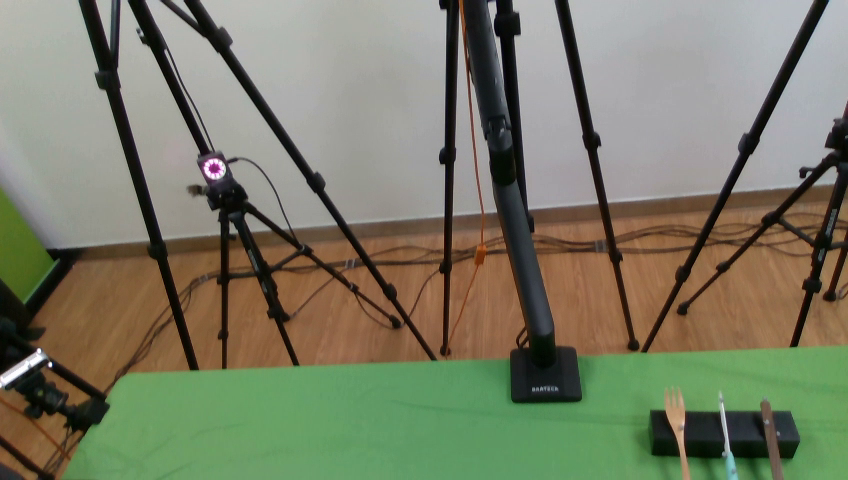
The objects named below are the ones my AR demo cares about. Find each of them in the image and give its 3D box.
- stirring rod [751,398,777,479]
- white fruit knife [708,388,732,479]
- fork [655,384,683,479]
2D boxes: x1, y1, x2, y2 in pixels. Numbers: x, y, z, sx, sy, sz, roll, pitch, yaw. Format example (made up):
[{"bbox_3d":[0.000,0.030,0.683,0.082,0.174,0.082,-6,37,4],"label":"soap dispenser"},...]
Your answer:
[{"bbox_3d":[0.489,0.314,0.861,0.014,0.006,0.175,-7,65,18],"label":"stirring rod"},{"bbox_3d":[0.428,0.313,0.872,0.016,0.028,0.205,0,57,9],"label":"white fruit knife"},{"bbox_3d":[0.367,0.315,0.888,0.028,0.019,0.205,-3,60,7],"label":"fork"}]
